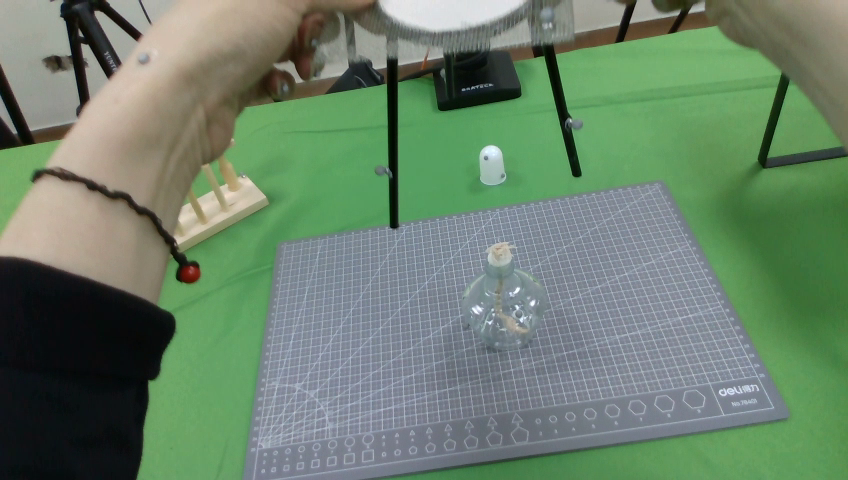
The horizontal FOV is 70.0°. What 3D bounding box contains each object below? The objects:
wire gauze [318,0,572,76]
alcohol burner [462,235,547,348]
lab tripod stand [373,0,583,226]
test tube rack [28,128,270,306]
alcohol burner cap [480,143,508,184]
[{"bbox_3d":[0.014,-0.134,0.312,0.121,0.011,0.124,1,59,11],"label":"wire gauze"},{"bbox_3d":[0.070,0.042,0.540,0.078,0.120,0.077,-7,43,7],"label":"alcohol burner"},{"bbox_3d":[0.024,-0.090,0.363,0.148,0.133,0.147,-4,56,7],"label":"lab tripod stand"},{"bbox_3d":[-0.316,-0.031,0.717,0.242,0.086,0.066,-33,49,-19],"label":"test tube rack"},{"bbox_3d":[0.083,-0.094,0.726,0.034,0.048,0.033,-7,46,7],"label":"alcohol burner cap"}]
